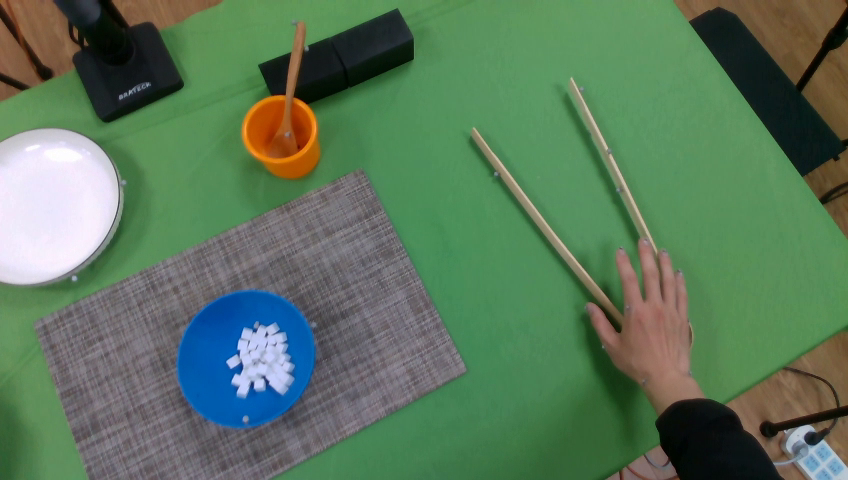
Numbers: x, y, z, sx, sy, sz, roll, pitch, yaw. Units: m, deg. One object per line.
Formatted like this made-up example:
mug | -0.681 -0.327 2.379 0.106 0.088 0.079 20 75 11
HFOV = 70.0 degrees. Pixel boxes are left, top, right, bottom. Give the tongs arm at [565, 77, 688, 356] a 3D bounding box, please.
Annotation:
tongs arm | 0.249 -0.038 0.784 0.051 0.026 0.382 -22 78 -5

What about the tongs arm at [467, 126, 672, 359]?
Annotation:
tongs arm | 0.176 0.000 0.777 0.028 0.028 0.385 -35 79 -11

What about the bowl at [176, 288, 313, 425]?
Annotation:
bowl | -0.198 0.136 0.703 0.151 0.077 0.150 0 75 -1

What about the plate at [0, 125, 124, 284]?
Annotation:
plate | -0.483 -0.044 0.770 0.208 0.039 0.206 0 75 -1

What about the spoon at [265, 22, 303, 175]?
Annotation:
spoon | -0.169 -0.171 0.753 0.041 0.195 0.021 21 31 8
